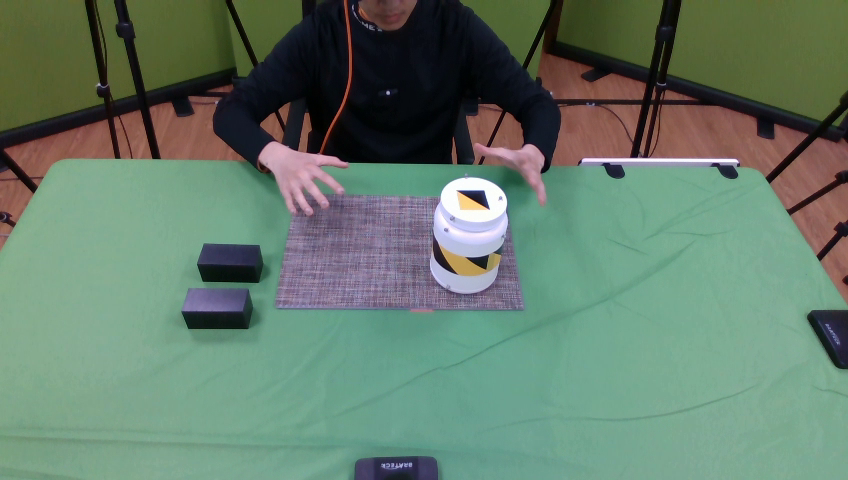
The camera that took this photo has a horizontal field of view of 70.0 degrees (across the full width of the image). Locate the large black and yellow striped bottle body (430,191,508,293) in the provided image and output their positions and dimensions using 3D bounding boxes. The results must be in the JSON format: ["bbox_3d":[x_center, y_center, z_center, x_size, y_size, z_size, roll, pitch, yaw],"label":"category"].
[{"bbox_3d":[0.080,-0.008,1.092,0.131,0.185,0.130,2,46,-2],"label":"large black and yellow striped bottle body"}]

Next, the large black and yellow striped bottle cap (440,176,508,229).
[{"bbox_3d":[0.085,-0.066,1.032,0.115,0.019,0.114,1,47,-1],"label":"large black and yellow striped bottle cap"}]
